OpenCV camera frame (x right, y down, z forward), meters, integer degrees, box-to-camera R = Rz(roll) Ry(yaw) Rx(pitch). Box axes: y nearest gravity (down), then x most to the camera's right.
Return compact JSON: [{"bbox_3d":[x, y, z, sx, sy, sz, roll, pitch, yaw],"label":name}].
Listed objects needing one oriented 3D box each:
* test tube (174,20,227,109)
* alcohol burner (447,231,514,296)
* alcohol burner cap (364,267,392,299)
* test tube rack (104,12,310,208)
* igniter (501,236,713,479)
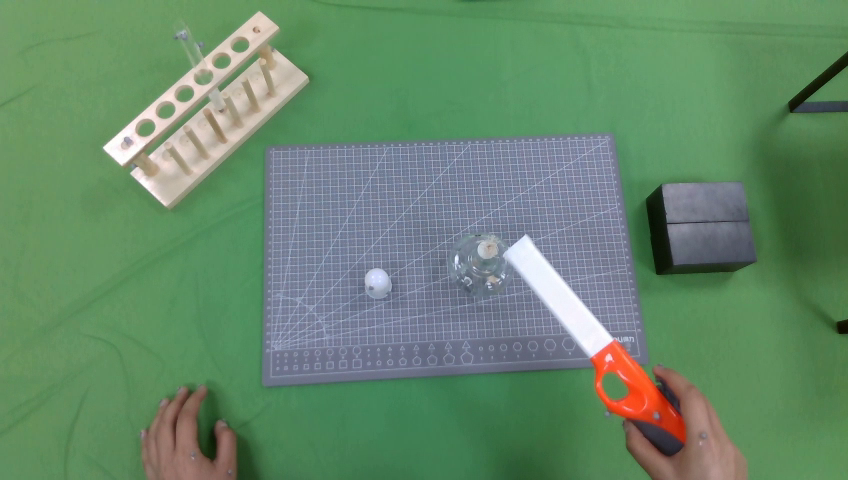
[{"bbox_3d":[-0.254,-0.196,0.696,0.017,0.151,0.017,1,69,-1],"label":"test tube"},{"bbox_3d":[0.066,0.022,0.682,0.078,0.119,0.077,1,72,-3],"label":"alcohol burner"},{"bbox_3d":[-0.055,0.048,0.707,0.034,0.048,0.033,0,73,0],"label":"alcohol burner cap"},{"bbox_3d":[-0.253,-0.157,0.736,0.066,0.085,0.242,41,77,10],"label":"test tube rack"},{"bbox_3d":[0.170,0.112,0.565,0.057,0.025,0.275,-40,77,11],"label":"igniter"}]
